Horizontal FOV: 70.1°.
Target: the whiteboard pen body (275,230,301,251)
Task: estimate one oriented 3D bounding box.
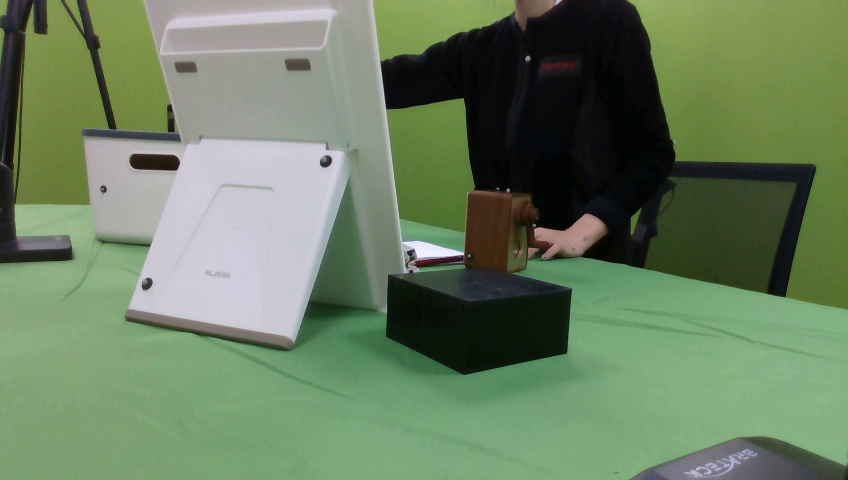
[{"bbox_3d":[-0.203,0.002,0.894,0.017,0.017,0.140,2,9,-1],"label":"whiteboard pen body"}]

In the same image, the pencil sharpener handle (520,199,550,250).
[{"bbox_3d":[0.147,-0.019,0.785,0.030,0.068,0.036,8,25,36],"label":"pencil sharpener handle"}]

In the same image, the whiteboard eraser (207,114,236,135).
[{"bbox_3d":[-0.447,-0.254,1.332,0.056,0.042,0.112,4,12,-23],"label":"whiteboard eraser"}]

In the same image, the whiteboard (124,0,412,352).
[{"bbox_3d":[-0.151,-0.049,0.472,0.216,0.305,0.144,6,27,24],"label":"whiteboard"}]

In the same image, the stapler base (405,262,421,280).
[{"bbox_3d":[-0.069,0.027,0.759,0.130,0.024,0.041,9,13,23],"label":"stapler base"}]

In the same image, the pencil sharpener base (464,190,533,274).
[{"bbox_3d":[0.102,-0.012,0.812,0.076,0.107,0.061,8,9,36],"label":"pencil sharpener base"}]

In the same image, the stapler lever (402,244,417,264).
[{"bbox_3d":[-0.066,0.003,0.755,0.117,0.040,0.027,9,13,23],"label":"stapler lever"}]

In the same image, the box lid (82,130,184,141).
[{"bbox_3d":[-0.337,-0.161,1.011,0.263,0.015,0.372,4,7,11],"label":"box lid"}]

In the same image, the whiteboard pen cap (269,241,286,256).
[{"bbox_3d":[-0.202,0.012,0.836,0.018,0.018,0.033,2,9,-1],"label":"whiteboard pen cap"}]

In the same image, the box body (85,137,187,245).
[{"bbox_3d":[-0.340,-0.088,1.022,0.254,0.160,0.364,4,7,11],"label":"box body"}]

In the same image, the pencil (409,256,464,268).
[{"bbox_3d":[0.041,0.028,0.849,0.012,0.012,0.195,10,10,43],"label":"pencil"}]
